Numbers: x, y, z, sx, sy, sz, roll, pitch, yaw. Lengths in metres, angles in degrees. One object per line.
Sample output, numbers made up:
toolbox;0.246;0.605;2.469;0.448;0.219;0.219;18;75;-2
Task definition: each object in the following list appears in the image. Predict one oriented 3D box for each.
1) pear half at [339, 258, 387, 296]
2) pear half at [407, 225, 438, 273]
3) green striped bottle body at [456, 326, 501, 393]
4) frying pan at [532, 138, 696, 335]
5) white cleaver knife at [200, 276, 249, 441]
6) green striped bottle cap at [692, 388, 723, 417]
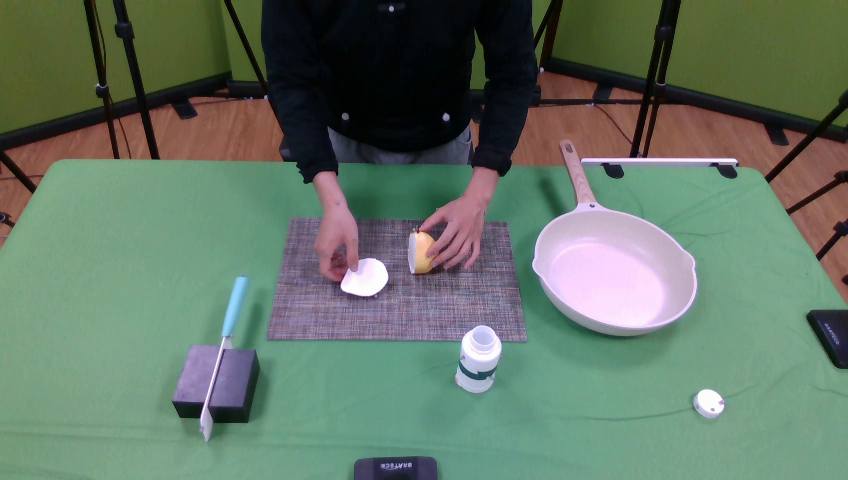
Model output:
pear half;-0.112;0.073;1.107;0.088;0.031;0.070;-24;67;-12
pear half;-0.002;0.010;1.121;0.056;0.110;0.076;-10;51;-12
green striped bottle body;0.086;0.185;0.959;0.063;0.120;0.063;2;46;-2
frying pan;0.336;-0.024;1.190;0.307;0.103;0.484;-2;55;-7
white cleaver knife;-0.321;0.177;0.972;0.021;0.066;0.284;7;48;-5
green striped bottle cap;0.460;0.263;0.984;0.044;0.020;0.044;3;46;-3
